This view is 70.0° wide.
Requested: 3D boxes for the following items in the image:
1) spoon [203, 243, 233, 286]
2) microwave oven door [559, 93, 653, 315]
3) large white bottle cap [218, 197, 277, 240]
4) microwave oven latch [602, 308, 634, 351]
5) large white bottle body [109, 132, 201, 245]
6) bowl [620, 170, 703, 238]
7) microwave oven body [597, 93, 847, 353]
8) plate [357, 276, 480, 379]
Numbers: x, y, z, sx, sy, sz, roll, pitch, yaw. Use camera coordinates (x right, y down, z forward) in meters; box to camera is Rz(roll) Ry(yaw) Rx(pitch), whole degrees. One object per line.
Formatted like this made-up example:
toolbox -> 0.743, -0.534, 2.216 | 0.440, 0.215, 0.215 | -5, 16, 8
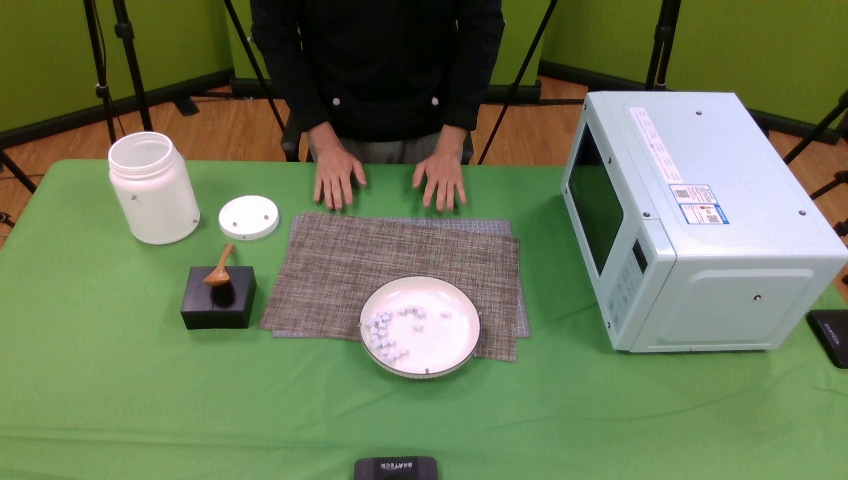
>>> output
spoon -> -0.360, 0.039, 1.087 | 0.041, 0.022, 0.192 | -5, 24, -7
microwave oven door -> 0.327, -0.074, 1.123 | 0.039, 0.245, 0.353 | -1, 46, -5
large white bottle cap -> -0.354, -0.045, 1.220 | 0.115, 0.018, 0.114 | 2, 45, -2
microwave oven latch -> 0.332, 0.153, 1.044 | 0.030, 0.029, 0.078 | -1, 45, -4
large white bottle body -> -0.506, -0.097, 1.141 | 0.131, 0.185, 0.130 | 2, 46, -2
bowl -> 0.445, -0.057, 1.166 | 0.151, 0.077, 0.150 | 1, 46, -1
microwave oven body -> 0.475, -0.041, 1.109 | 0.326, 0.261, 0.438 | -1, 45, -4
plate -> -0.010, 0.151, 1.038 | 0.209, 0.038, 0.208 | 2, 47, -2
